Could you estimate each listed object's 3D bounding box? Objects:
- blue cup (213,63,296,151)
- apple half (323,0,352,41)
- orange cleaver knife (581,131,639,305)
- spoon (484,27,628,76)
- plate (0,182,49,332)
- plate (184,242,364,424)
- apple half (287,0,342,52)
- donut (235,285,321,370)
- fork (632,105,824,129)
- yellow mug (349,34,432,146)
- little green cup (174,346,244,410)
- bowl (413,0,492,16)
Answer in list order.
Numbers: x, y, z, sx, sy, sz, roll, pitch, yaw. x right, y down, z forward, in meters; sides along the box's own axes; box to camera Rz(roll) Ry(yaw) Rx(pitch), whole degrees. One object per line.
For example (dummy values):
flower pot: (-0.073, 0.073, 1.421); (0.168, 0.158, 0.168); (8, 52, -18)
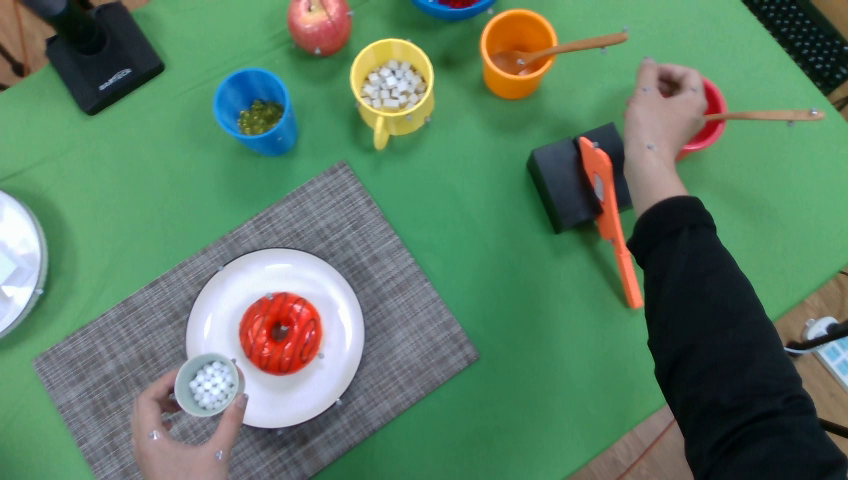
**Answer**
blue cup: (-0.194, -0.151, 0.729); (0.092, 0.100, 0.092); (0, 81, 0)
apple half: (-0.109, -0.293, 0.765); (0.033, 0.081, 0.081); (-28, 80, -2)
orange cleaver knife: (0.217, -0.025, 0.712); (0.012, 0.076, 0.212); (-19, 110, 0)
spoon: (0.148, -0.225, 0.714); (0.022, 0.192, 0.041); (24, 76, -39)
plate: (-0.554, 0.026, 0.734); (0.208, 0.039, 0.207); (0, 80, 1)
plate: (-0.172, 0.106, 0.712); (0.209, 0.038, 0.208); (0, 80, 1)
apple half: (-0.143, -0.274, 0.764); (0.053, 0.075, 0.080); (-29, 84, -1)
donut: (-0.168, 0.101, 0.701); (0.099, 0.048, 0.098); (0, 81, 2)
fork: (0.341, -0.145, 0.699); (0.206, 0.019, 0.028); (6, 63, 45)
yellow mug: (-0.043, -0.180, 0.750); (0.100, 0.064, 0.130); (14, 81, 2)
little green cup: (-0.209, 0.138, 0.600); (0.061, 0.039, 0.061); (-1, 73, 2)
bowl: (0.037, -0.345, 0.772); (0.151, 0.077, 0.151); (0, 81, 1)
